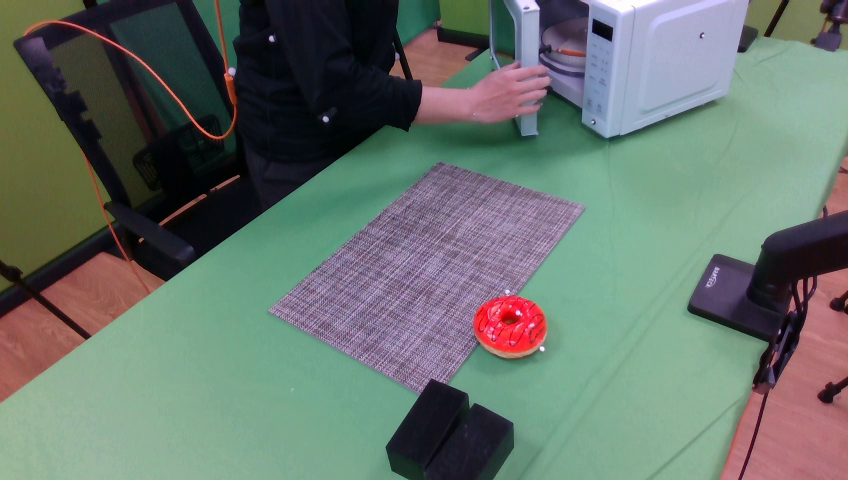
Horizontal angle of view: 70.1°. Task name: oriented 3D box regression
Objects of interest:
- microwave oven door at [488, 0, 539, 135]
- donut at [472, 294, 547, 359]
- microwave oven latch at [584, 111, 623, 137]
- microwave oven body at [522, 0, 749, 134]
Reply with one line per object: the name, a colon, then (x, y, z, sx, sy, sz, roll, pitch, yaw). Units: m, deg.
microwave oven door: (0.177, -0.407, 1.222, 0.039, 0.245, 0.353, -8, 41, 0)
donut: (0.114, 0.114, 0.803, 0.099, 0.048, 0.098, 0, 40, 1)
microwave oven latch: (0.337, -0.222, 1.142, 0.030, 0.029, 0.078, -21, 42, -14)
microwave oven body: (0.382, -0.444, 1.246, 0.327, 0.261, 0.437, -22, 42, -16)
